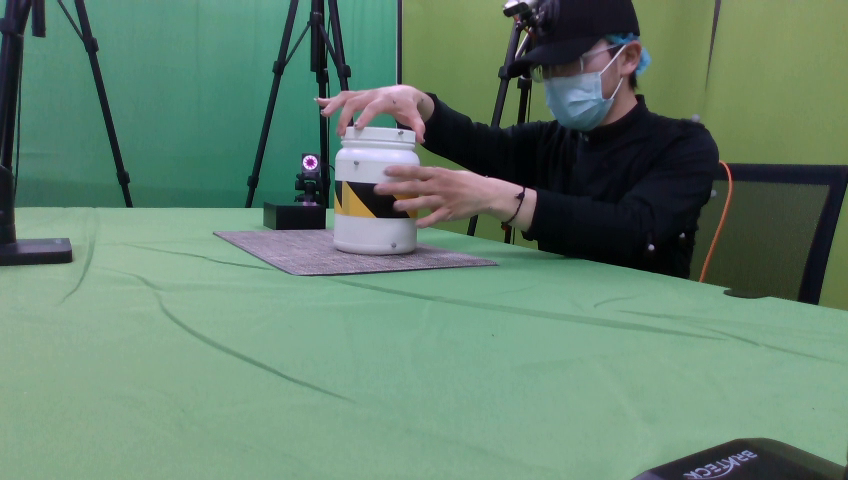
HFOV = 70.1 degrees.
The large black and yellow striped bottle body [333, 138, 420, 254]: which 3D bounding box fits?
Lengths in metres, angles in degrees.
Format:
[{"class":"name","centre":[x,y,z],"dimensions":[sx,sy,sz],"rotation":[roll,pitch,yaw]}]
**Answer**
[{"class":"large black and yellow striped bottle body","centre":[-0.073,-0.077,0.933],"dimensions":[0.131,0.184,0.130],"rotation":[2,7,0]}]

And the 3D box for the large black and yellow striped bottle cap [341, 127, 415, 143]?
[{"class":"large black and yellow striped bottle cap","centre":[-0.069,-0.160,0.923],"dimensions":[0.115,0.019,0.115],"rotation":[3,8,0]}]
